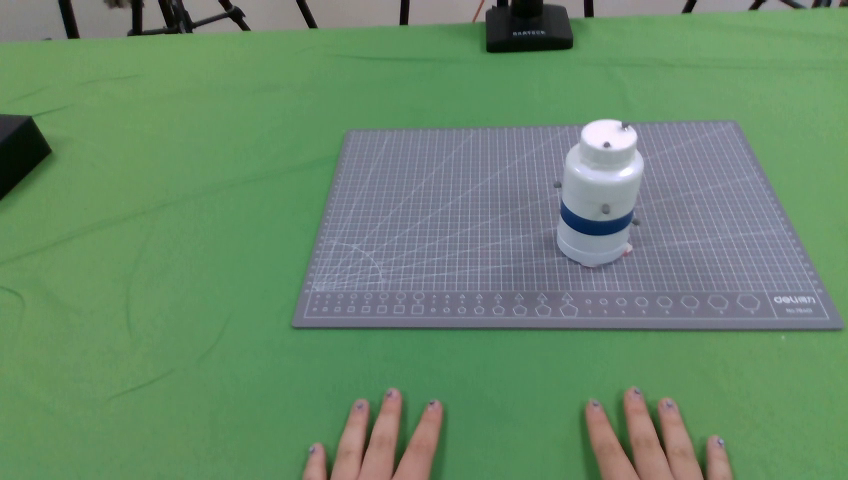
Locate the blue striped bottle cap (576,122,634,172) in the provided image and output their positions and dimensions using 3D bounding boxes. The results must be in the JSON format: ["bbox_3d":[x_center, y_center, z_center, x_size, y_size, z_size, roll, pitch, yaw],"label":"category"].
[{"bbox_3d":[0.145,-0.075,0.487,0.044,0.021,0.044,-1,44,2],"label":"blue striped bottle cap"}]

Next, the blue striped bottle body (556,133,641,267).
[{"bbox_3d":[0.149,-0.039,0.522,0.063,0.122,0.062,-3,44,3],"label":"blue striped bottle body"}]
